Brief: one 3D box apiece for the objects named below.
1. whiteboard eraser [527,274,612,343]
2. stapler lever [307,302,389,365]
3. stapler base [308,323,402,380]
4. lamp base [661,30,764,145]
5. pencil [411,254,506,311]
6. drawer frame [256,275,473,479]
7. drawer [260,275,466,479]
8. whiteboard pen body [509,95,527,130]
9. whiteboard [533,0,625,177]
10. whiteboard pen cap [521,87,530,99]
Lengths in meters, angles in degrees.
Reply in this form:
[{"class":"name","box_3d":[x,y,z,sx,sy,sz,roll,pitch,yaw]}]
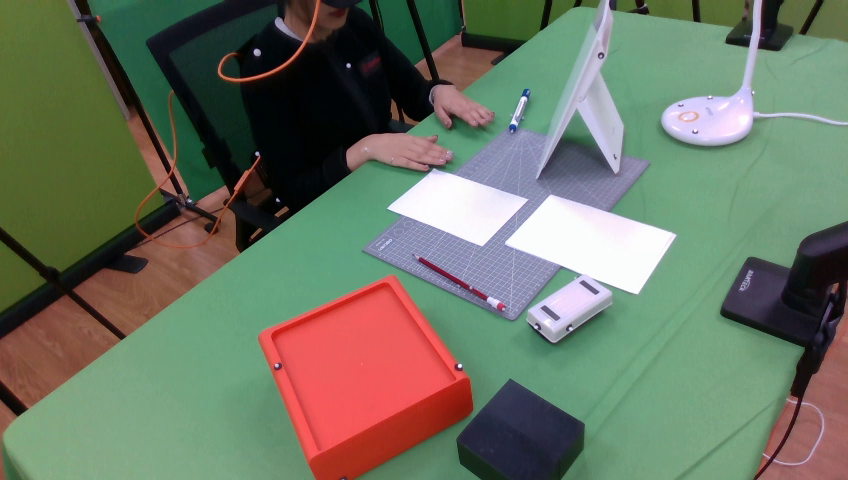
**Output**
[{"class":"whiteboard eraser","box_3d":[0.198,0.094,0.820,0.113,0.042,0.055,-30,43,-22]},{"class":"stapler lever","box_3d":[-0.101,0.121,0.799,0.118,0.040,0.026,-25,29,-17]},{"class":"stapler base","box_3d":[-0.094,0.142,0.812,0.131,0.024,0.041,-24,29,-17]},{"class":"lamp base","box_3d":[0.535,-0.287,1.096,0.179,0.181,0.159,-10,40,-4]},{"class":"pencil","box_3d":[0.047,0.060,0.906,0.012,0.012,0.192,-37,46,-29]},{"class":"drawer frame","box_3d":[-0.078,0.164,0.756,0.202,0.083,0.211,-23,43,-17]},{"class":"drawer","box_3d":[-0.080,0.163,0.760,0.195,0.073,0.210,-22,42,-16]},{"class":"whiteboard pen body","box_3d":[0.199,-0.273,1.261,0.017,0.017,0.140,7,44,19]},{"class":"whiteboard","box_3d":[0.321,-0.258,1.049,0.144,0.306,0.217,21,45,4]},{"class":"whiteboard pen cap","box_3d":[0.218,-0.313,1.301,0.018,0.018,0.033,7,47,18]}]
